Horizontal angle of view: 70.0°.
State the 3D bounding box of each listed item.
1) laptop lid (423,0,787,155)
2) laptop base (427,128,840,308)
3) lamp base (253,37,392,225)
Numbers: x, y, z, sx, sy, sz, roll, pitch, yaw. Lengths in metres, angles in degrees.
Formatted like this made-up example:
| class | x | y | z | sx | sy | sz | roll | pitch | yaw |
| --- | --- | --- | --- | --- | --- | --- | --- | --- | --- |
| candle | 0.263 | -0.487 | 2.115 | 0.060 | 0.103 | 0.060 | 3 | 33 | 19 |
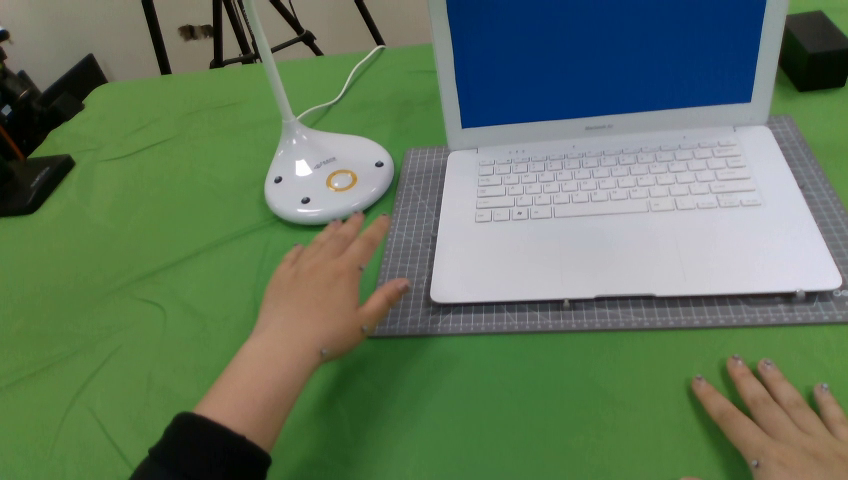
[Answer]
| class | x | y | z | sx | sy | sz | roll | pitch | yaw |
| --- | --- | --- | --- | --- | --- | --- | --- | --- | --- |
| laptop lid | 0.182 | -0.203 | 0.631 | 0.356 | 0.244 | 0.013 | -4 | 36 | 12 |
| laptop base | 0.187 | -0.025 | 0.616 | 0.354 | 0.023 | 0.233 | -3 | 46 | 11 |
| lamp base | -0.140 | -0.134 | 0.693 | 0.160 | 0.182 | 0.177 | -39 | 46 | -26 |
